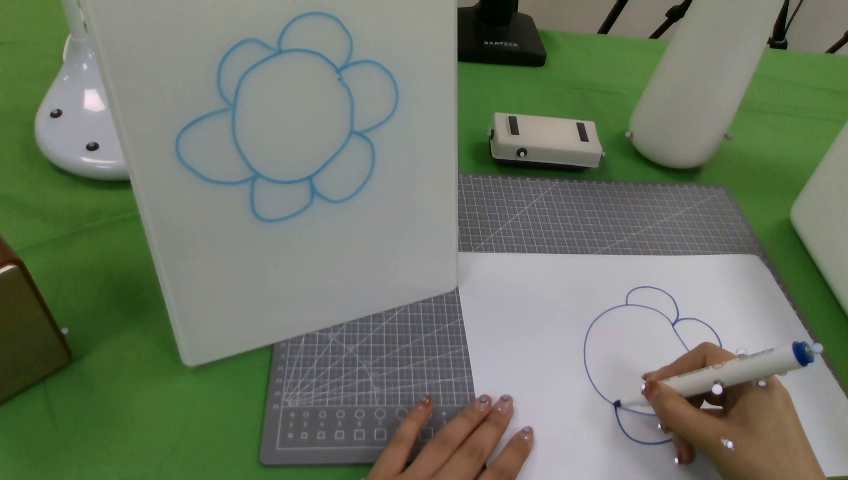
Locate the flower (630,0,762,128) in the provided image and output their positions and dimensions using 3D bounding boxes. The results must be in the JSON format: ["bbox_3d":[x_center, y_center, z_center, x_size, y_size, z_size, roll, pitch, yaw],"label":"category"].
[{"bbox_3d":[0.304,-0.217,0.546,0.044,0.363,0.038,-19,70,-34],"label":"flower"}]

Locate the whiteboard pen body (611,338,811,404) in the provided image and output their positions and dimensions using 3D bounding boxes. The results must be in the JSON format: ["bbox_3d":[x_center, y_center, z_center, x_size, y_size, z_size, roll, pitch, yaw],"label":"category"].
[{"bbox_3d":[0.181,0.091,0.400,0.017,0.141,0.017,21,54,-31],"label":"whiteboard pen body"}]

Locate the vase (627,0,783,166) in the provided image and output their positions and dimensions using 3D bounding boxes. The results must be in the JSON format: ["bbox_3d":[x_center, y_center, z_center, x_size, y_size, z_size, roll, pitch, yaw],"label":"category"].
[{"bbox_3d":[0.283,-0.172,0.614,0.098,0.201,0.097,6,46,-6],"label":"vase"}]

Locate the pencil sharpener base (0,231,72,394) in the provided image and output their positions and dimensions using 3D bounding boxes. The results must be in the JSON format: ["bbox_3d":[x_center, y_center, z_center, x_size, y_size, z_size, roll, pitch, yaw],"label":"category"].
[{"bbox_3d":[-0.283,0.037,0.381,0.076,0.108,0.061,37,52,24],"label":"pencil sharpener base"}]

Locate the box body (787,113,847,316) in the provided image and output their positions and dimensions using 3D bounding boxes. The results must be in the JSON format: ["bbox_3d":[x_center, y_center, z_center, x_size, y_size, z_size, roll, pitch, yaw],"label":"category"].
[{"bbox_3d":[0.499,0.044,0.474,0.255,0.161,0.360,3,47,-7],"label":"box body"}]

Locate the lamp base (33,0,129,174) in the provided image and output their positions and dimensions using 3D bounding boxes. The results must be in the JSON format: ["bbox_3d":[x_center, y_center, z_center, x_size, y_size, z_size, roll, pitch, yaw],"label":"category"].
[{"bbox_3d":[-0.284,-0.176,0.531,0.178,0.182,0.160,32,50,22],"label":"lamp base"}]

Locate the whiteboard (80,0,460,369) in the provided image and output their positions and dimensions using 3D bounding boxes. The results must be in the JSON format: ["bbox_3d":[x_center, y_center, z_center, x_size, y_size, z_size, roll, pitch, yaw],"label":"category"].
[{"bbox_3d":[-0.101,-0.097,0.442,0.218,0.308,0.142,-14,32,-20],"label":"whiteboard"}]

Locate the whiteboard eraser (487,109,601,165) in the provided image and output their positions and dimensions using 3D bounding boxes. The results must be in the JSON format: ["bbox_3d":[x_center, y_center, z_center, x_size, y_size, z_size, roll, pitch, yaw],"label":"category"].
[{"bbox_3d":[0.123,-0.105,0.632,0.113,0.042,0.055,3,44,-6],"label":"whiteboard eraser"}]
